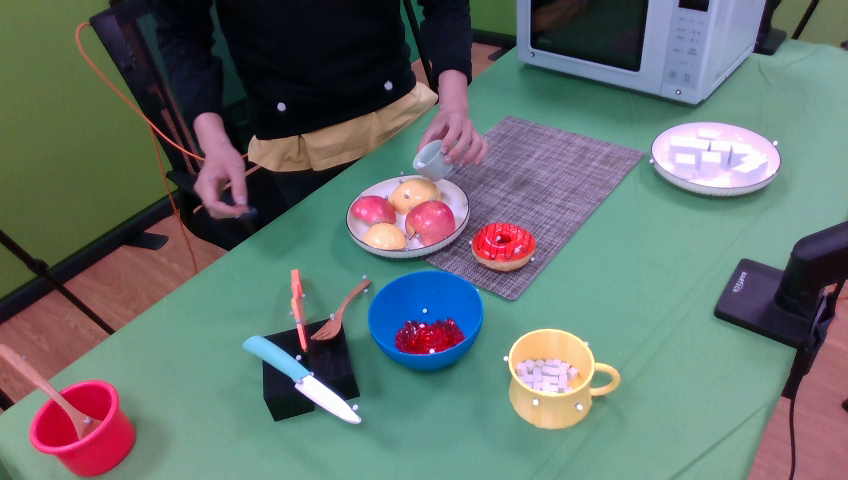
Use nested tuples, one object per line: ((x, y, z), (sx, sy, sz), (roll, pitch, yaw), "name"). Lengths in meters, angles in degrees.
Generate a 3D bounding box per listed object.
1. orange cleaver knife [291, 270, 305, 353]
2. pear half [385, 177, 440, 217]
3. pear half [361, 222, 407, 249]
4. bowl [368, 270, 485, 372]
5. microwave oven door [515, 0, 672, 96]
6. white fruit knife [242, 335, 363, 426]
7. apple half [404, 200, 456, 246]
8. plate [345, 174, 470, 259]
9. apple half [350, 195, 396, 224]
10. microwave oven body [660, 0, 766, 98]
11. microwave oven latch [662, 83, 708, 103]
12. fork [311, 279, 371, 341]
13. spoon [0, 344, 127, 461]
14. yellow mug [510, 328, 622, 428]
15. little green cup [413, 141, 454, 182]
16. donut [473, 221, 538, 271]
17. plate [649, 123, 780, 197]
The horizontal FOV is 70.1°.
((-0.175, 0.094, 0.844), (0.012, 0.077, 0.210), (-11, 14, -10), "orange cleaver knife")
((-0.030, -0.079, 1.033), (0.109, 0.056, 0.076), (-1, 36, 15), "pear half")
((-0.063, -0.012, 0.958), (0.071, 0.031, 0.087), (2, 24, -25), "pear half")
((0.007, 0.118, 0.791), (0.151, 0.077, 0.150), (-5, 40, 4), "bowl")
((0.343, -0.454, 1.259), (0.353, 0.245, 0.039), (26, 51, 33), "microwave oven door")
((-0.148, 0.167, 0.730), (0.206, 0.016, 0.027), (26, 80, 31), "white fruit knife")
((0.009, -0.035, 0.969), (0.075, 0.053, 0.080), (-27, 40, -22), "apple half")
((-0.026, -0.037, 1.004), (0.209, 0.038, 0.208), (-4, 40, 4), "plate")
((-0.081, -0.056, 1.008), (0.081, 0.033, 0.081), (11, 24, -4), "apple half")
((0.472, -0.513, 1.317), (0.438, 0.261, 0.327), (26, 51, 34), "microwave oven body")
((0.518, -0.296, 1.204), (0.078, 0.029, 0.030), (28, 52, 35), "microwave oven latch")
((-0.108, 0.092, 0.832), (0.028, 0.019, 0.207), (-6, 19, 15), "fork")
((-0.433, 0.191, 0.721), (0.194, 0.021, 0.042), (47, 53, -6), "spoon")
((0.169, 0.164, 0.722), (0.130, 0.064, 0.099), (0, 40, 8), "yellow mug")
((0.017, -0.122, 0.957), (0.061, 0.039, 0.061), (-31, 29, 21), "little green cup")
((0.123, 0.008, 0.923), (0.099, 0.048, 0.098), (-3, 38, 3), "donut")
((0.497, -0.135, 1.046), (0.207, 0.039, 0.206), (-4, 40, 4), "plate")
